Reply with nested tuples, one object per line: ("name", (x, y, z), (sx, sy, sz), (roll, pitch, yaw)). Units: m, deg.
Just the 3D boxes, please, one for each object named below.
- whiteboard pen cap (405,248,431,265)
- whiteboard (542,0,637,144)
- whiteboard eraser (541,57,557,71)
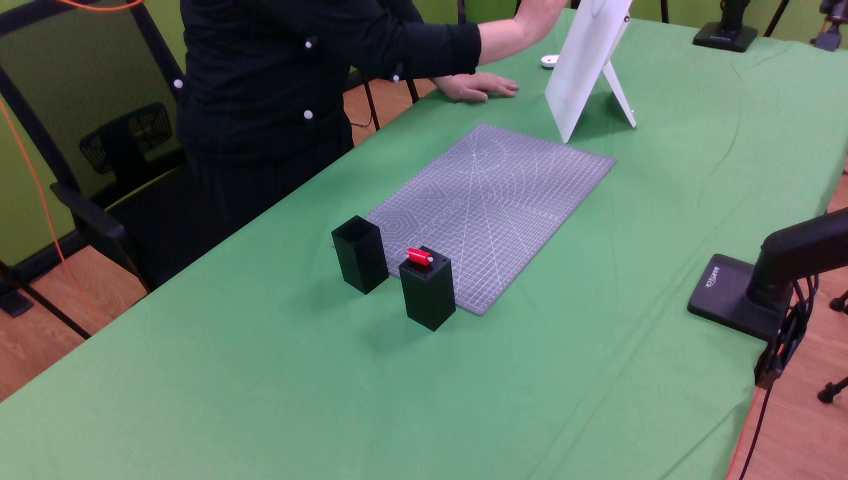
("whiteboard pen cap", (-0.008, 0.021, 0.794), (0.032, 0.017, 0.017), (16, 46, 28))
("whiteboard", (0.366, -0.351, 1.160), (0.144, 0.305, 0.216), (10, 39, -10))
("whiteboard eraser", (0.323, -0.412, 1.408), (0.101, 0.019, 0.041), (2, 42, 11))
